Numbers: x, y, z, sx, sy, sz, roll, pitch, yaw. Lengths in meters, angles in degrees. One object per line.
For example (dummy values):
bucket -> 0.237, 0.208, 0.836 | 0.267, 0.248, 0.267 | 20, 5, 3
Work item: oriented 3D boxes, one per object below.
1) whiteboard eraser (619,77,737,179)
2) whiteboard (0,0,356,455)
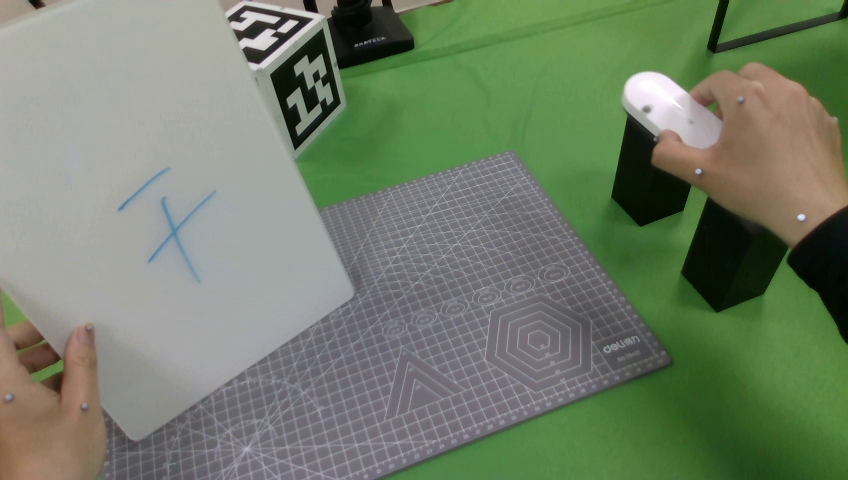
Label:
whiteboard eraser -> 0.192, -0.087, 0.462 | 0.041, 0.019, 0.100 | -33, 66, -13
whiteboard -> -0.227, -0.029, 0.491 | 0.217, 0.308, 0.142 | -34, 33, -22
